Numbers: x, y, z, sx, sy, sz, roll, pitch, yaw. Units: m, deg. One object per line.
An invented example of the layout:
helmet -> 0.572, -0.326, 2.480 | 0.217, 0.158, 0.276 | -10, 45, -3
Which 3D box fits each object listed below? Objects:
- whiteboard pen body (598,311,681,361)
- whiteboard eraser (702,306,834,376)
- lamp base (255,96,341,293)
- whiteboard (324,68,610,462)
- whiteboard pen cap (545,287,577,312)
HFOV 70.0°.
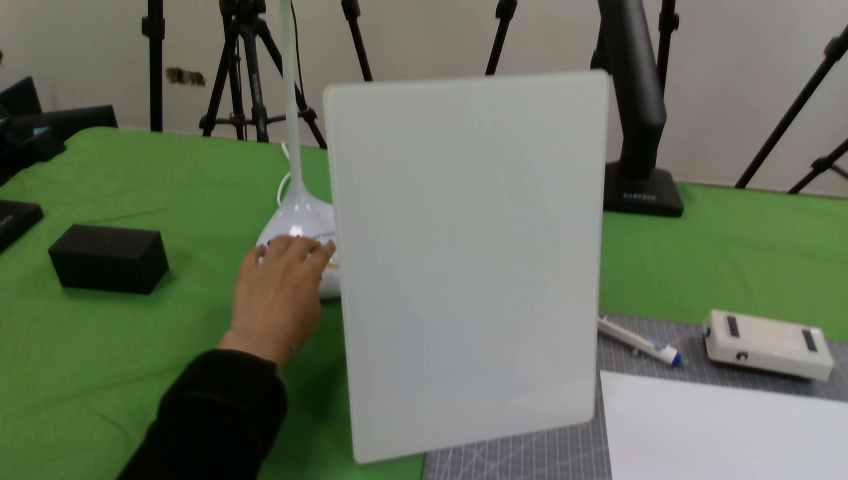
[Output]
whiteboard pen body -> 0.198, 0.089, 0.632 | 0.140, 0.017, 0.017 | 25, 41, 23
whiteboard eraser -> 0.341, 0.103, 0.607 | 0.112, 0.042, 0.055 | 9, 35, 9
lamp base -> -0.124, -0.059, 0.683 | 0.161, 0.182, 0.177 | -25, 42, -33
whiteboard -> 0.029, 0.009, 0.542 | 0.218, 0.307, 0.143 | -6, 18, -11
whiteboard pen cap -> 0.149, 0.065, 0.655 | 0.033, 0.018, 0.018 | 26, 41, 21
